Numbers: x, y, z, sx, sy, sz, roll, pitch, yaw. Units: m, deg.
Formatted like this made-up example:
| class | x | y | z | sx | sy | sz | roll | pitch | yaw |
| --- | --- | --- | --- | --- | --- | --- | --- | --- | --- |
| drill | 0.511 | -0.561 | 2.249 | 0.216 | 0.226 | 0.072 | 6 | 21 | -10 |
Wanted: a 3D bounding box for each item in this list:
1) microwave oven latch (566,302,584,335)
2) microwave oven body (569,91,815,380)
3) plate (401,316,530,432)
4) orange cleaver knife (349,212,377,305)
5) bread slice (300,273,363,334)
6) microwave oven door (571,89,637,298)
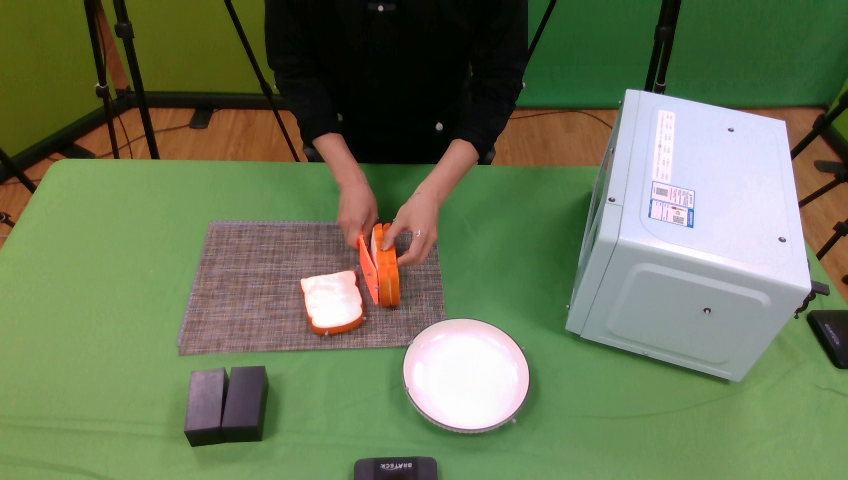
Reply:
| class | x | y | z | sx | sy | sz | roll | pitch | yaw |
| --- | --- | --- | --- | --- | --- | --- | --- | --- | --- |
| microwave oven latch | 0.268 | 0.126 | 1.059 | 0.030 | 0.029 | 0.079 | 16 | 46 | 12 |
| microwave oven body | 0.468 | -0.022 | 1.082 | 0.325 | 0.261 | 0.440 | 15 | 46 | 11 |
| plate | 0.066 | 0.217 | 0.982 | 0.208 | 0.039 | 0.206 | 2 | 46 | -2 |
| orange cleaver knife | -0.112 | 0.030 | 1.101 | 0.012 | 0.077 | 0.210 | -7 | 40 | -16 |
| bread slice | -0.164 | 0.113 | 1.076 | 0.107 | 0.018 | 0.133 | -11 | 39 | -7 |
| microwave oven door | 0.343 | -0.091 | 1.133 | 0.039 | 0.245 | 0.354 | 15 | 47 | 10 |
